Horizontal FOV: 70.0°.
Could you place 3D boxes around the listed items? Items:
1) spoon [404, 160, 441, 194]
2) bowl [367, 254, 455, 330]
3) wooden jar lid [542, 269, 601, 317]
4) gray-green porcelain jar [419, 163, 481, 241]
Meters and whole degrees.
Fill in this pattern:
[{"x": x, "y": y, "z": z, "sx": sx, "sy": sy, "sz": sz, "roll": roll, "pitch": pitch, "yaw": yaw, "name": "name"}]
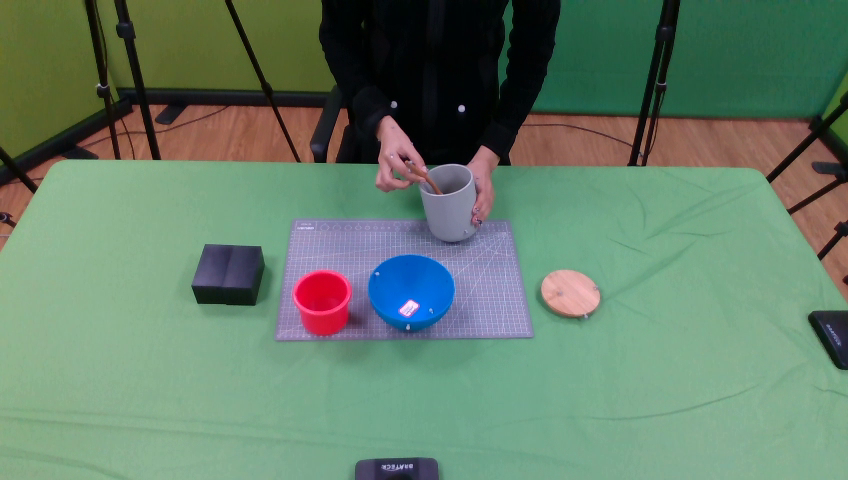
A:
[{"x": 0.015, "y": -0.101, "z": 1.159, "sx": 0.041, "sy": 0.195, "sz": 0.021, "roll": 28, "pitch": 77, "yaw": 42, "name": "spoon"}, {"x": -0.023, "y": 0.104, "z": 1.053, "sx": 0.151, "sy": 0.077, "sz": 0.150, "roll": 2, "pitch": 46, "yaw": -2, "name": "bowl"}, {"x": 0.272, "y": 0.100, "z": 1.121, "sx": 0.108, "sy": 0.021, "sz": 0.107, "roll": 3, "pitch": 46, "yaw": -2, "name": "wooden jar lid"}, {"x": 0.054, "y": -0.069, "z": 1.182, "sx": 0.106, "sy": 0.127, "sz": 0.105, "roll": -9, "pitch": 40, "yaw": 8, "name": "gray-green porcelain jar"}]
